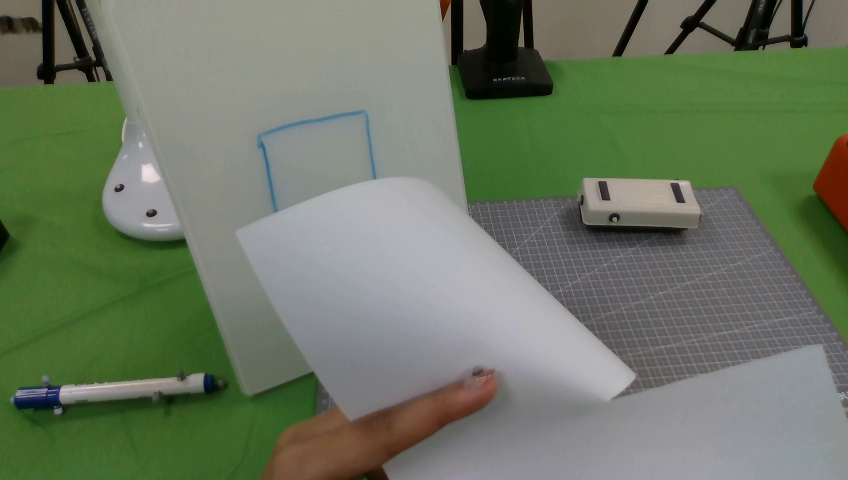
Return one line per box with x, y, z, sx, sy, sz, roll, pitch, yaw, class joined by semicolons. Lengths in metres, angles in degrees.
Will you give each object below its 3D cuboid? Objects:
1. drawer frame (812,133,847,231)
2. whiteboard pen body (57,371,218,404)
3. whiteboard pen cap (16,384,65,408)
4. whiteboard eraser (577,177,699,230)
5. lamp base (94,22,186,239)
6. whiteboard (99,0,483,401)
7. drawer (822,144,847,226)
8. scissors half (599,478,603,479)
0.524;-0.015;0.569;0.202;0.083;0.211;-3;43;-1;drawer frame
-0.237;0.118;0.480;0.141;0.017;0.017;-4;43;-8;whiteboard pen body
-0.296;0.122;0.472;0.033;0.018;0.018;-2;43;-10;whiteboard pen cap
0.217;-0.036;0.621;0.112;0.042;0.055;1;42;2;whiteboard eraser
-0.276;-0.118;0.616;0.178;0.182;0.160;25;49;28;lamp base
-0.094;-0.063;0.507;0.217;0.308;0.142;-19;27;-17;whiteboard
0.525;-0.009;0.565;0.194;0.074;0.209;-2;43;0;drawer
0.107;0.179;0.242;0.013;0.040;0.174;-24;81;9;scissors half
